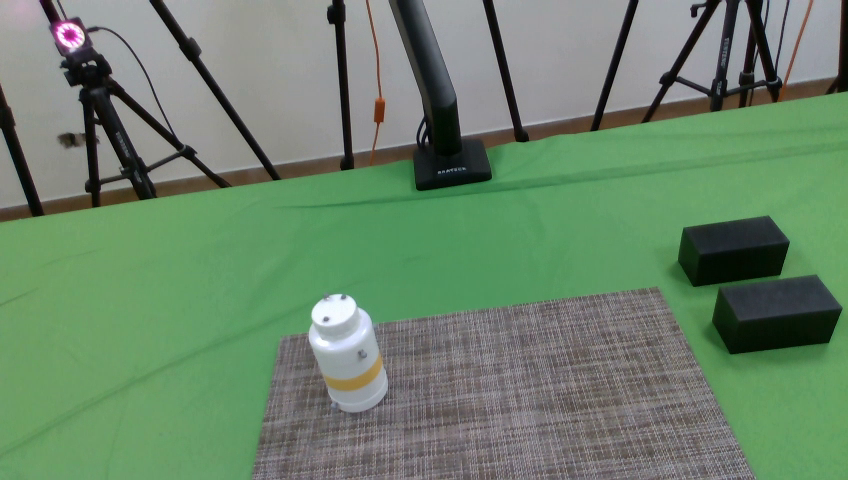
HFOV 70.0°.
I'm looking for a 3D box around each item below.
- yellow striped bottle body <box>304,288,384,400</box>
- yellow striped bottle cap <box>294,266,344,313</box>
[{"bbox_3d":[-0.081,0.101,0.610,0.063,0.121,0.062,-6,40,5],"label":"yellow striped bottle body"},{"bbox_3d":[-0.097,0.046,0.563,0.044,0.019,0.044,-7,46,8],"label":"yellow striped bottle cap"}]
